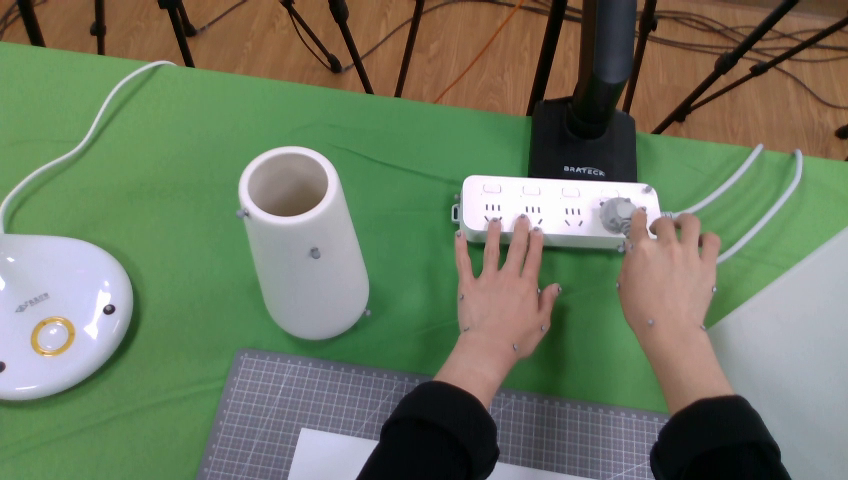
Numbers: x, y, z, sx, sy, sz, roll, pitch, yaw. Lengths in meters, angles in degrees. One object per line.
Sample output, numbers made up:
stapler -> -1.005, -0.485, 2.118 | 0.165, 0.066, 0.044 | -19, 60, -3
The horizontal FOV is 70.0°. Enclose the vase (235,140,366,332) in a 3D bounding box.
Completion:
vase -> -0.103, 0.003, 0.512 | 0.098, 0.201, 0.097 | 1, 60, -1

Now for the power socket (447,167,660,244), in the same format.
power socket -> 0.139, -0.036, 0.644 | 0.227, 0.033, 0.071 | 3, 61, -2

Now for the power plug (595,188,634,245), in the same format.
power plug -> 0.190, -0.020, 0.611 | 0.035, 0.053, 0.072 | 13, 63, 4

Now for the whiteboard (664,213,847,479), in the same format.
whiteboard -> 0.389, 0.088, 0.468 | 0.144, 0.307, 0.215 | -11, 59, -31

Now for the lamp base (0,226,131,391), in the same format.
lamp base -> -0.363, 0.016, 0.500 | 0.178, 0.181, 0.160 | 38, 65, 20
